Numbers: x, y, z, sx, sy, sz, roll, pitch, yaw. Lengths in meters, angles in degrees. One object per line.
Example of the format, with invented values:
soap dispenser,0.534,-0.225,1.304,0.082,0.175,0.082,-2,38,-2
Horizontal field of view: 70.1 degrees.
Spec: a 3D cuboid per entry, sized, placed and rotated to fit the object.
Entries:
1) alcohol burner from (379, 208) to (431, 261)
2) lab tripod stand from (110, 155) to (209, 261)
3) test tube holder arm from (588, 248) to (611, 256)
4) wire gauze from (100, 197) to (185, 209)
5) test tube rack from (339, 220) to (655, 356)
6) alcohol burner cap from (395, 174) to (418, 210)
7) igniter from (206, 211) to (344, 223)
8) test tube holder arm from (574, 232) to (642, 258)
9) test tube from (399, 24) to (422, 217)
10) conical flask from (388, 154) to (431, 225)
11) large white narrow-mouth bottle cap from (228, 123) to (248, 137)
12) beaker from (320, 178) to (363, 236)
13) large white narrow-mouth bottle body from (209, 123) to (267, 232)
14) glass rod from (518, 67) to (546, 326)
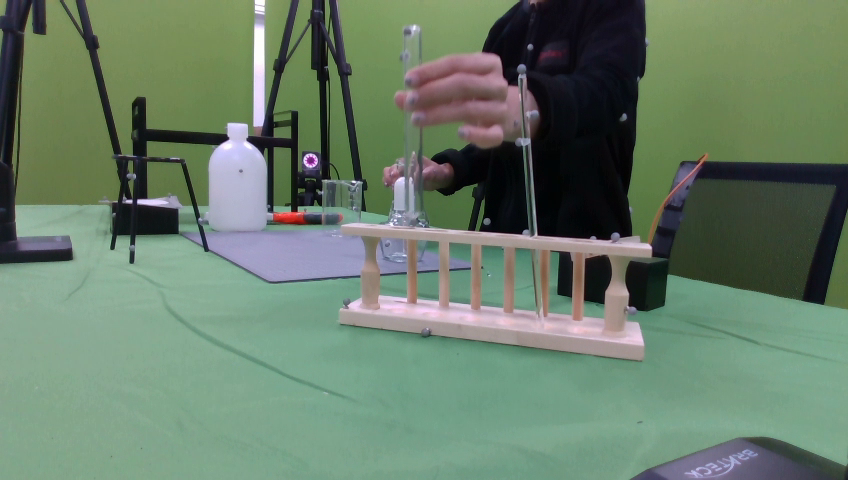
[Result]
alcohol burner,-0.027,-0.031,0.838,0.078,0.119,0.078,0,6,0
lab tripod stand,-0.362,-0.046,0.806,0.148,0.131,0.148,2,5,0
test tube holder arm,0.180,0.006,0.611,0.010,0.015,0.088,-5,1,36
wire gauze,-0.469,-0.062,1.008,0.126,0.011,0.121,-2,8,-25
test tube rack,0.055,0.032,0.495,0.242,0.085,0.067,4,8,15
alcohol burner cap,-0.026,-0.067,0.833,0.034,0.048,0.034,-2,12,1
igniter,-0.302,-0.048,1.249,0.278,0.025,0.057,-2,-2,-26
test tube holder arm,0.202,0.003,0.651,0.013,0.015,0.179,-5,1,36
test tube,-0.010,-0.093,0.481,0.017,0.150,0.017,-1,11,0
conical flask,-0.027,-0.083,1.027,0.075,0.122,0.075,-2,17,1
large white narrow-mouth bottle cap,-0.338,-0.199,1.097,0.038,0.024,0.037,2,8,0
beaker,-0.145,-0.059,1.079,0.074,0.100,0.083,-4,10,-36
large white narrow-mouth bottle body,-0.340,-0.115,1.109,0.102,0.194,0.102,2,8,0
glass rod,0.083,-0.028,0.458,0.008,0.199,0.008,-6,11,1
